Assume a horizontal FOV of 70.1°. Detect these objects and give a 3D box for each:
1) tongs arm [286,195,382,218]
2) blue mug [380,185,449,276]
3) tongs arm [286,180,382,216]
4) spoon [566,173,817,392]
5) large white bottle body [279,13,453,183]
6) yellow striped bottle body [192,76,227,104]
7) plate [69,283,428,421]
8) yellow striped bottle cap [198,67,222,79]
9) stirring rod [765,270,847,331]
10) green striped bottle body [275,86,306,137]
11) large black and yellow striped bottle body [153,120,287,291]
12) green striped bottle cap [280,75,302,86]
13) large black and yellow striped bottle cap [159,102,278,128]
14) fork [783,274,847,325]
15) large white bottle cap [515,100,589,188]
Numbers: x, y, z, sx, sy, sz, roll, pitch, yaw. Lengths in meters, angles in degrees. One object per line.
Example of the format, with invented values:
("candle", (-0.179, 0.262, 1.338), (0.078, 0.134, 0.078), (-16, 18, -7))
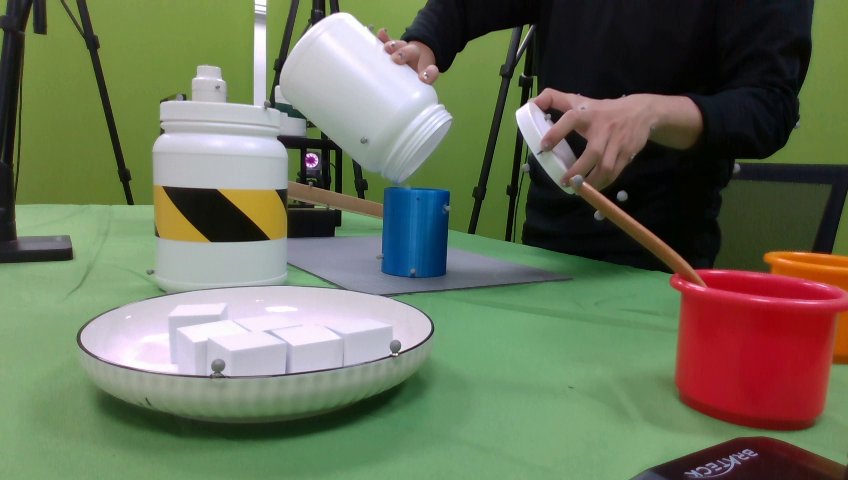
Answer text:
("tongs arm", (-0.165, -0.074, 1.216), (0.389, 0.027, 0.028), (11, -6, -24))
("blue mug", (-0.018, -0.016, 0.764), (0.083, 0.106, 0.116), (-1, 8, -25))
("tongs arm", (-0.122, -0.066, 1.147), (0.387, 0.026, 0.050), (11, -2, -37))
("spoon", (0.161, 0.024, 0.370), (0.193, 0.021, 0.042), (47, 17, 3))
("large white bottle body", (-0.068, -0.168, 0.738), (0.184, 0.130, 0.131), (42, 12, 3))
("yellow striped bottle body", (-0.414, -0.268, 1.169), (0.063, 0.120, 0.063), (2, 7, 0))
("plate", (-0.102, 0.066, 0.380), (0.208, 0.039, 0.207), (2, 7, 0))
("yellow striped bottle cap", (-0.412, -0.320, 1.162), (0.044, 0.018, 0.044), (0, 5, 0))
("stirring rod", (0.352, 0.020, 0.484), (0.176, 0.006, 0.014), (-40, -7, 12))
("green striped bottle body", (-0.269, -0.269, 1.221), (0.063, 0.119, 0.063), (2, 7, 0))
("large black and yellow striped bottle body", (-0.208, -0.042, 0.626), (0.131, 0.184, 0.130), (2, 7, 0))
("green striped bottle cap", (-0.267, -0.320, 1.216), (0.044, 0.020, 0.044), (3, 9, 0))
("large black and yellow striped bottle cap", (-0.207, -0.125, 0.615), (0.115, 0.019, 0.115), (2, 6, 0))
("fork", (0.332, 0.018, 0.444), (0.028, 0.018, 0.207), (-2, -35, -15))
("large white bottle cap", (0.145, -0.109, 0.683), (0.018, 0.114, 0.115), (-38, -13, 27))
